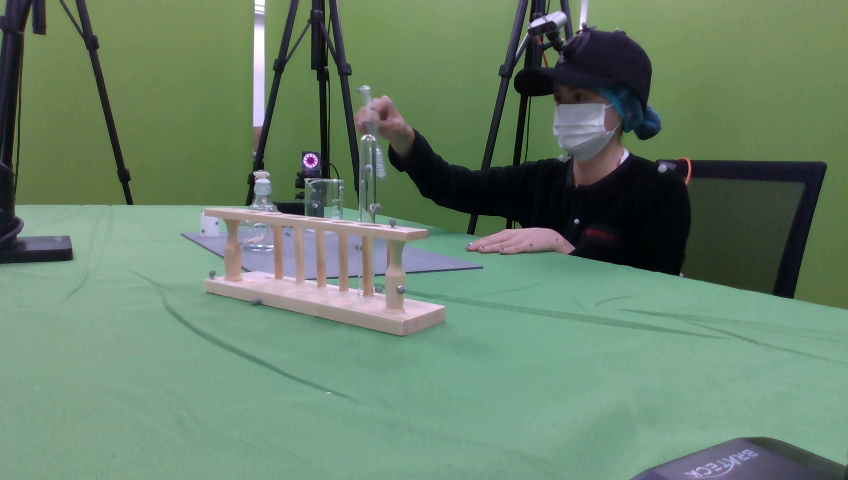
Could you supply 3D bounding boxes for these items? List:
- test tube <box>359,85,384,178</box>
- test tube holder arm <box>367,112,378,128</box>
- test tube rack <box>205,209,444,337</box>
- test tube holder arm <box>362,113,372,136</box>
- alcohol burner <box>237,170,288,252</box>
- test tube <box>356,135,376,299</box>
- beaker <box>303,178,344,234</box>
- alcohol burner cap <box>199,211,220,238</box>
[{"bbox_3d":[-0.085,-0.175,0.977,0.017,0.150,0.017,-11,2,1],"label":"test tube"},{"bbox_3d":[-0.087,-0.197,1.000,0.010,0.015,0.087,-8,3,-11],"label":"test tube holder arm"},{"bbox_3d":[-0.100,0.021,0.565,0.241,0.085,0.067,7,9,32],"label":"test tube rack"},{"bbox_3d":[-0.098,-0.198,1.044,0.013,0.015,0.178,-7,3,-4],"label":"test tube holder arm"},{"bbox_3d":[-0.236,-0.042,0.882,0.078,0.119,0.078,2,9,0],"label":"alcohol burner"},{"bbox_3d":[-0.053,-0.019,0.550,0.017,0.150,0.017,2,9,0],"label":"test tube"},{"bbox_3d":[-0.189,-0.063,1.119,0.073,0.100,0.084,6,9,28],"label":"beaker"},{"bbox_3d":[-0.356,-0.027,1.002,0.034,0.048,0.034,2,7,0],"label":"alcohol burner cap"}]
